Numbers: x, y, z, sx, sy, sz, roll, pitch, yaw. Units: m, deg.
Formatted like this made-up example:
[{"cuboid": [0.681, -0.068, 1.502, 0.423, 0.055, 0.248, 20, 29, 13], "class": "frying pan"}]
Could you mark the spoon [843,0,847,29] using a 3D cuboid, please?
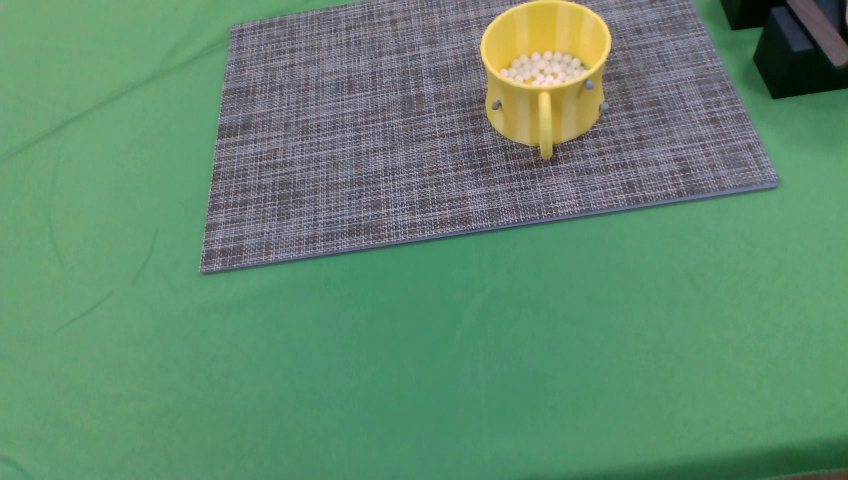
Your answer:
[{"cuboid": [0.326, -0.213, 0.472, 0.041, 0.022, 0.192, -4, 57, 7], "class": "spoon"}]

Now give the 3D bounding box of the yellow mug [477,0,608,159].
[{"cuboid": [0.094, -0.124, 0.486, 0.100, 0.064, 0.129, -2, 60, 9], "class": "yellow mug"}]

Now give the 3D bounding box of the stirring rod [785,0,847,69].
[{"cuboid": [0.285, -0.198, 0.475, 0.014, 0.006, 0.174, -31, 53, 31], "class": "stirring rod"}]
